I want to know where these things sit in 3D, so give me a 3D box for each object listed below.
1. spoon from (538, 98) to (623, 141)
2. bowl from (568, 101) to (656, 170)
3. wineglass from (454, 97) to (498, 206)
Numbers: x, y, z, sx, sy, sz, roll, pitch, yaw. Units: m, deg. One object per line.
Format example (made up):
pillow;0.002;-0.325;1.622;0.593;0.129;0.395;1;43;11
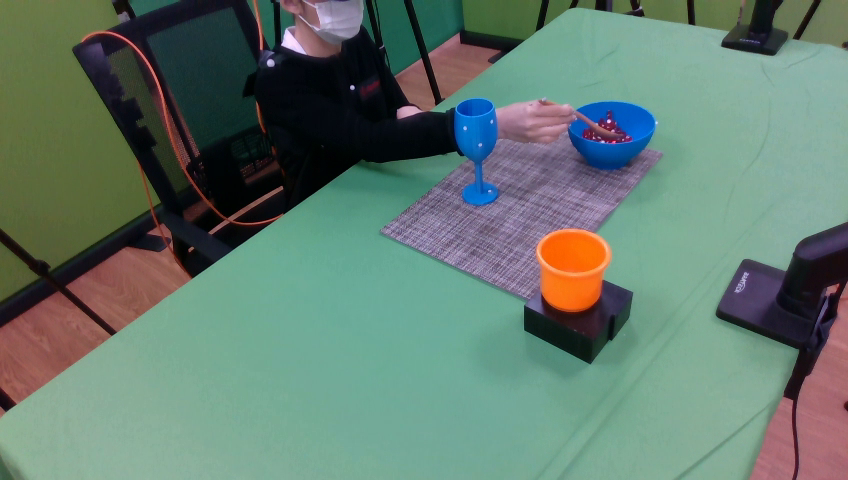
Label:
spoon;0.267;-0.205;1.030;0.195;0.021;0.041;20;1;-30
bowl;0.332;-0.179;1.084;0.151;0.077;0.150;-4;40;4
wineglass;0.090;-0.145;1.009;0.074;0.173;0.073;-5;40;4
